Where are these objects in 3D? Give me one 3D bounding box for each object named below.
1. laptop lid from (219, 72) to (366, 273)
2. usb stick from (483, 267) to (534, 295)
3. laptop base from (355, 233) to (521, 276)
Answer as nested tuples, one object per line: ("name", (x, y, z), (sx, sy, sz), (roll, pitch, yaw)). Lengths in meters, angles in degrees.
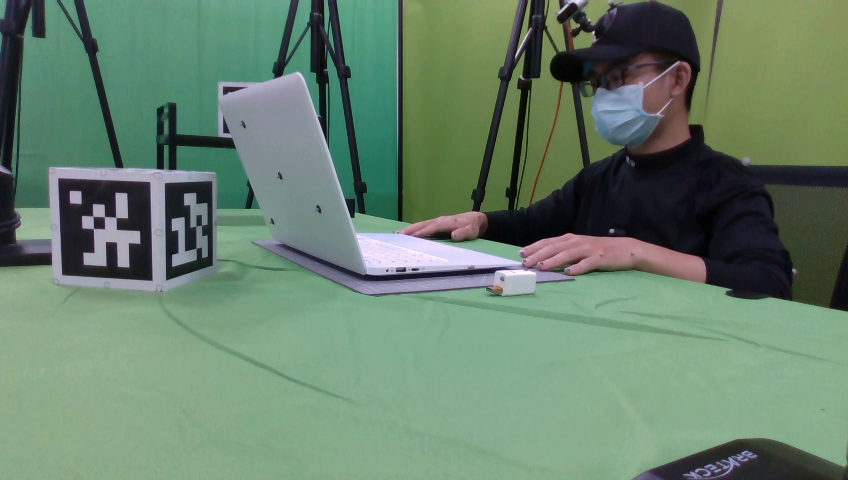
("laptop lid", (-0.189, -0.087, 0.800), (0.013, 0.242, 0.355), (-26, 21, -26))
("usb stick", (0.093, 0.046, 0.673), (0.059, 0.027, 0.021), (-5, 14, -30))
("laptop base", (-0.056, 0.017, 0.898), (0.237, 0.023, 0.352), (2, 6, -32))
